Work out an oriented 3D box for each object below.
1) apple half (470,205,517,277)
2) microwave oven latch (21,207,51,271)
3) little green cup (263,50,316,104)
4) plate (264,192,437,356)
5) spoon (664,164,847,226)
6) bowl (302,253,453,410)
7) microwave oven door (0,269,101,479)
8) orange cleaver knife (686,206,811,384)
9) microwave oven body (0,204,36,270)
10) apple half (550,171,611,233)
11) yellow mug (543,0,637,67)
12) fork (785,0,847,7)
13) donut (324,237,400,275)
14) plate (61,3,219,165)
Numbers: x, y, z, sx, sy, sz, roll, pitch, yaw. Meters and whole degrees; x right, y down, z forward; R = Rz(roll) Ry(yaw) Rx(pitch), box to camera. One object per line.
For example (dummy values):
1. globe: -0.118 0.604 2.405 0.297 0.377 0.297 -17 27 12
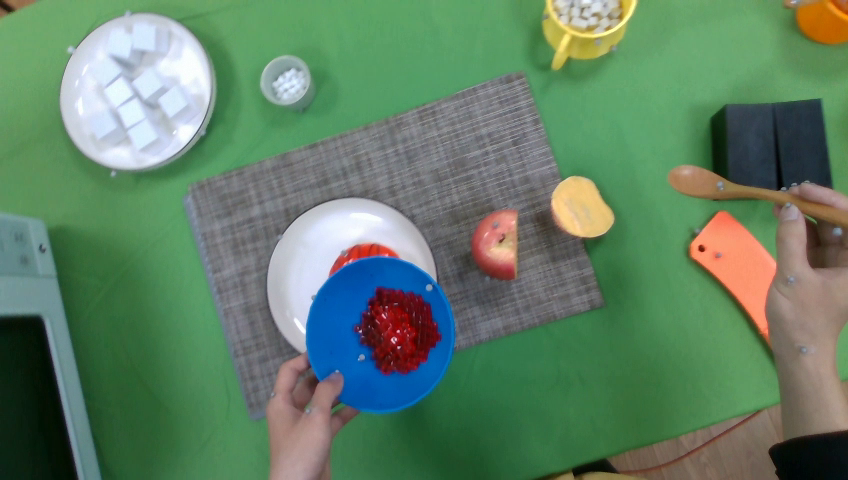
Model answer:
1. apple half: 0.079 0.001 0.691 0.053 0.075 0.080 1 89 10
2. microwave oven latch: -0.495 0.000 0.760 0.030 0.029 0.079 -14 85 5
3. little green cup: -0.165 -0.200 0.755 0.061 0.039 0.061 -1 85 7
4. plate: -0.086 0.047 0.724 0.209 0.038 0.208 -1 86 7
5. spoon: 0.278 -0.037 0.502 0.041 0.192 0.022 -24 113 -17
6. bowl: -0.039 0.091 0.617 0.151 0.077 0.151 -1 84 12
7. microwave oven door: -0.450 0.202 0.638 0.039 0.244 0.354 -16 84 5
8. orange cleaver knife: 0.379 0.060 0.683 0.077 0.012 0.210 -33 82 -2
9. microwave oven body: -0.601 0.202 0.660 0.326 0.261 0.440 -16 85 5
10. apple half: 0.173 -0.038 0.700 0.082 0.033 0.080 9 65 -20
11. yellow mug: 0.184 -0.261 0.705 0.099 0.064 0.131 29 90 8
12. fork: 0.424 -0.256 0.635 0.208 0.018 0.028 -19 82 -39
13. donut: -0.069 0.045 0.711 0.099 0.048 0.099 0 88 7
14. plate: -0.358 -0.196 0.777 0.207 0.039 0.207 -1 86 7
